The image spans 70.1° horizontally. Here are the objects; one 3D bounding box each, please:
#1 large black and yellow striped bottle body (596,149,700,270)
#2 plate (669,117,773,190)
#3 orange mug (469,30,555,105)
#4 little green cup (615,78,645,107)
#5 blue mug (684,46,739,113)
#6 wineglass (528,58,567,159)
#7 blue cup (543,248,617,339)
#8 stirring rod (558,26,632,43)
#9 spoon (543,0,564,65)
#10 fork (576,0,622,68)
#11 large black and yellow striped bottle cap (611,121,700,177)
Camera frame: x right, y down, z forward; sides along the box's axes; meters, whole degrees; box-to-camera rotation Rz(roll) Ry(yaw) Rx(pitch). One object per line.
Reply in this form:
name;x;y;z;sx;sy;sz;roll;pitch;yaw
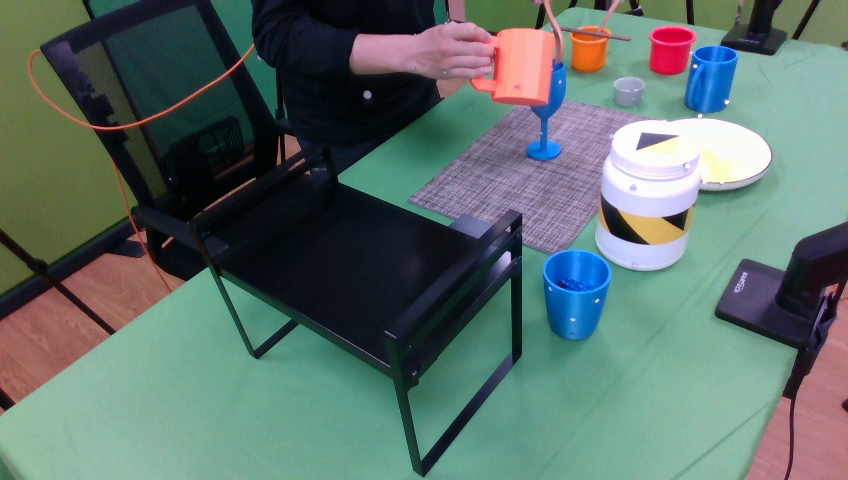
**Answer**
large black and yellow striped bottle body;0.323;-0.062;0.877;0.131;0.185;0.130;-5;40;4
plate;0.495;-0.148;1.063;0.209;0.038;0.208;-5;40;4
orange mug;0.131;-0.259;0.905;0.127;0.101;0.083;8;5;-14
little green cup;0.426;-0.306;1.257;0.061;0.039;0.061;-4;40;4
blue mug;0.556;-0.310;1.190;0.117;0.106;0.081;-32;46;-25
wineglass;0.221;-0.237;1.097;0.074;0.173;0.073;-4;41;4
blue cup;0.199;0.076;0.797;0.092;0.100;0.092;-4;39;4
stirring rod;0.381;-0.462;1.356;0.175;0.006;0.014;23;48;29
spoon;0.207;-0.388;0.999;0.021;0.194;0.041;-15;7;7
fork;0.409;-0.484;1.381;0.028;0.019;0.207;37;101;46
large black and yellow striped bottle cap;0.315;-0.126;0.823;0.115;0.019;0.114;-4;42;4
